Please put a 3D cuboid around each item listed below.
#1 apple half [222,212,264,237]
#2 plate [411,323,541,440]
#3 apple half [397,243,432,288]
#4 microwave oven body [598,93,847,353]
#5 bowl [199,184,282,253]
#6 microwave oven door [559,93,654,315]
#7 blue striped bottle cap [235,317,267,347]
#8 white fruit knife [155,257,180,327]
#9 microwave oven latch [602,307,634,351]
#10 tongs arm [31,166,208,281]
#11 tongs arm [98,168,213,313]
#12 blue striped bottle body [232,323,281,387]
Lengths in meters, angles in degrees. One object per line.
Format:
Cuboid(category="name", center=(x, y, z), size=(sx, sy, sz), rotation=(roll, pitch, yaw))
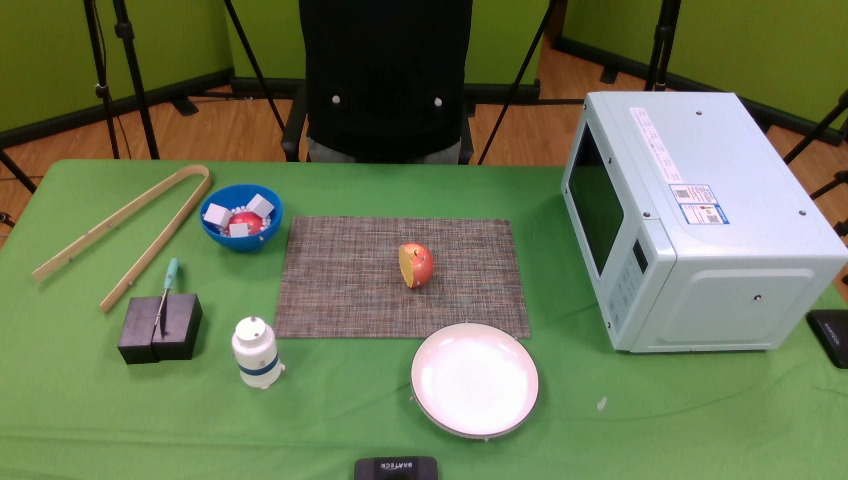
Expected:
Cuboid(category="apple half", center=(-0.346, -0.033, 1.161), size=(0.081, 0.033, 0.081), rotation=(4, 47, -4))
Cuboid(category="plate", center=(0.082, 0.228, 0.976), size=(0.208, 0.039, 0.206), rotation=(2, 45, -2))
Cuboid(category="apple half", center=(-0.013, 0.047, 1.115), size=(0.053, 0.075, 0.080), rotation=(-10, 43, -21))
Cuboid(category="microwave oven body", center=(0.475, -0.041, 1.109), size=(0.326, 0.261, 0.438), rotation=(-1, 45, -4))
Cuboid(category="bowl", center=(-0.346, -0.030, 1.164), size=(0.151, 0.077, 0.150), rotation=(3, 46, -3))
Cuboid(category="microwave oven door", center=(0.327, -0.074, 1.123), size=(0.039, 0.245, 0.353), rotation=(-1, 46, -5))
Cuboid(category="blue striped bottle cap", center=(-0.259, 0.137, 0.907), size=(0.044, 0.021, 0.044), rotation=(3, 43, -2))
Cuboid(category="white fruit knife", center=(-0.440, 0.085, 1.037), size=(0.016, 0.027, 0.206), rotation=(10, 26, -19))
Cuboid(category="microwave oven latch", center=(0.332, 0.153, 1.044), size=(0.030, 0.029, 0.078), rotation=(-1, 45, -4))
Cuboid(category="tongs arm", center=(-0.578, -0.040, 1.185), size=(0.050, 0.026, 0.384), rotation=(23, 47, 17))
Cuboid(category="tongs arm", center=(-0.503, -0.012, 1.167), size=(0.028, 0.028, 0.385), rotation=(11, 46, 11))
Cuboid(category="blue striped bottle body", center=(-0.262, 0.171, 0.944), size=(0.063, 0.121, 0.062), rotation=(2, 46, -2))
